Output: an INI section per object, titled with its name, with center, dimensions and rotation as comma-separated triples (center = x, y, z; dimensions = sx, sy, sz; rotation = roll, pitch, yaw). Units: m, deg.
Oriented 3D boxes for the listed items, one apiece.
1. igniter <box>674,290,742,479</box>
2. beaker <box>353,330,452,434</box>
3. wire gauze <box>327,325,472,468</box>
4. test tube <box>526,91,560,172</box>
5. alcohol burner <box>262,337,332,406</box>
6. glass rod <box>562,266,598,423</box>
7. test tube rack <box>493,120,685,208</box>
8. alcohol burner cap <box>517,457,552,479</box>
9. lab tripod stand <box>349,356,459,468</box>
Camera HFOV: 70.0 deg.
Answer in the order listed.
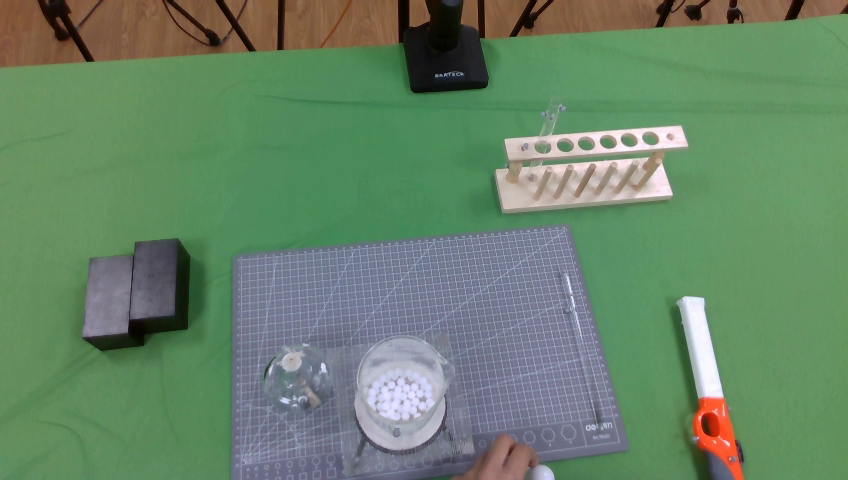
[igniter]
center = 0.341, 0.191, 0.725
dimensions = 0.057, 0.025, 0.274
rotation = 6, 64, -12
[beaker]
center = -0.019, 0.130, 0.541
dimensions = 0.084, 0.101, 0.073
rotation = -10, 65, -8
[wire gauze]
center = -0.026, 0.148, 0.585
dimensions = 0.125, 0.011, 0.120
rotation = -9, 63, -6
[test tube]
center = 0.151, -0.135, 0.781
dimensions = 0.017, 0.151, 0.017
rotation = 1, 61, -1
[alcohol burner]
center = -0.142, 0.140, 0.666
dimensions = 0.078, 0.120, 0.077
rotation = 1, 62, -2
[glass rod]
center = 0.193, 0.126, 0.754
dimensions = 0.008, 0.008, 0.198
rotation = -4, 68, -6
[test tube rack]
center = 0.224, -0.103, 0.825
dimensions = 0.243, 0.086, 0.066
rotation = -5, 65, -6
[alcohol burner cap]
center = 0.125, 0.256, 0.670
dimensions = 0.034, 0.048, 0.033
rotation = 3, 65, -5
[lab tripod stand]
center = -0.028, 0.180, 0.643
dimensions = 0.148, 0.132, 0.147
rotation = 1, 64, -1
